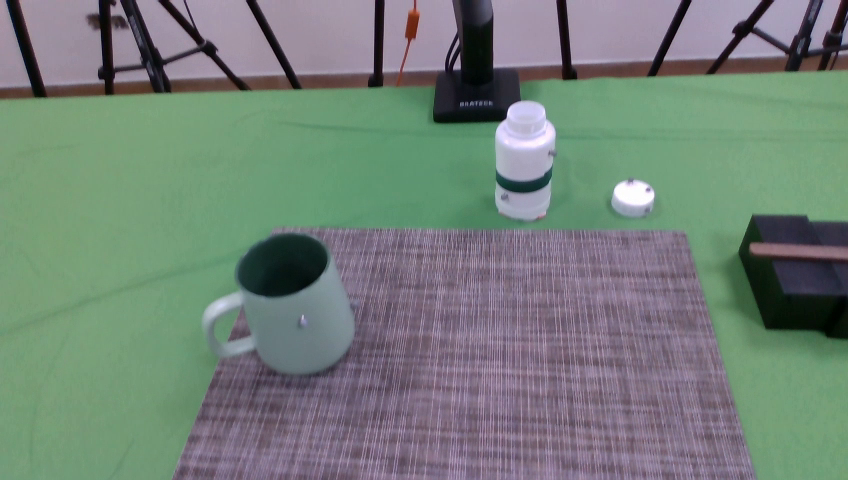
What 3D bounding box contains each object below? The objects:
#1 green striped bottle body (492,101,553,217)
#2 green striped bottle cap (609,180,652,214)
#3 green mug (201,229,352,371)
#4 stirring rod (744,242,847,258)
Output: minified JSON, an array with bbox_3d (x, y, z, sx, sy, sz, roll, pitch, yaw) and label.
[{"bbox_3d":[0.105,-0.088,0.654,0.063,0.120,0.062,-3,44,3],"label":"green striped bottle body"},{"bbox_3d":[0.230,-0.048,0.674,0.044,0.020,0.044,-3,40,3],"label":"green striped bottle cap"},{"bbox_3d":[-0.130,0.061,0.530,0.125,0.106,0.091,-23,47,-17],"label":"green mug"},{"bbox_3d":[0.377,0.011,0.534,0.176,0.006,0.014,2,45,8],"label":"stirring rod"}]
